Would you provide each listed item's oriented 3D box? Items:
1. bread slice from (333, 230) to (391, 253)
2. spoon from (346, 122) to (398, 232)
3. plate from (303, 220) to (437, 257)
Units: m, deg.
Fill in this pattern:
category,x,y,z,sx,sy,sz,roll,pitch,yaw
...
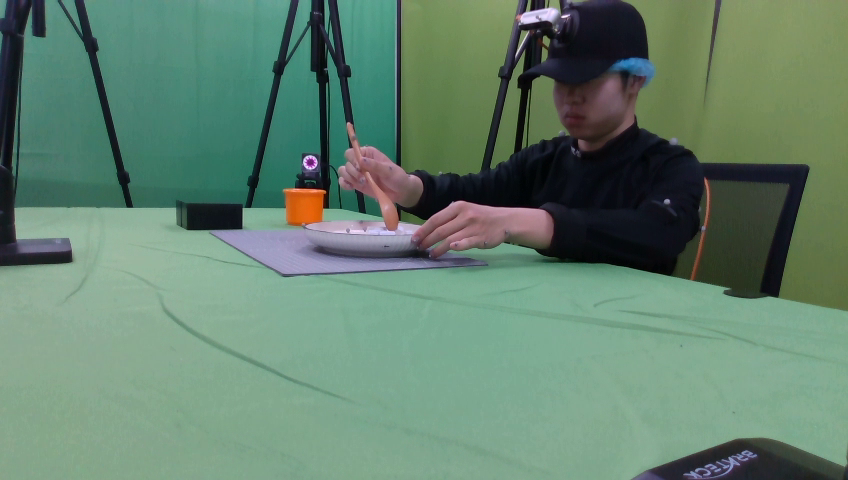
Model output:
category,x,y,z,sx,sy,sz,roll,pitch,yaw
bread slice,-0.088,0.001,0.947,0.105,0.019,0.131,-4,11,-45
spoon,-0.085,-0.101,0.949,0.021,0.193,0.042,-34,-14,27
plate,-0.084,-0.003,0.951,0.209,0.038,0.209,3,7,0
